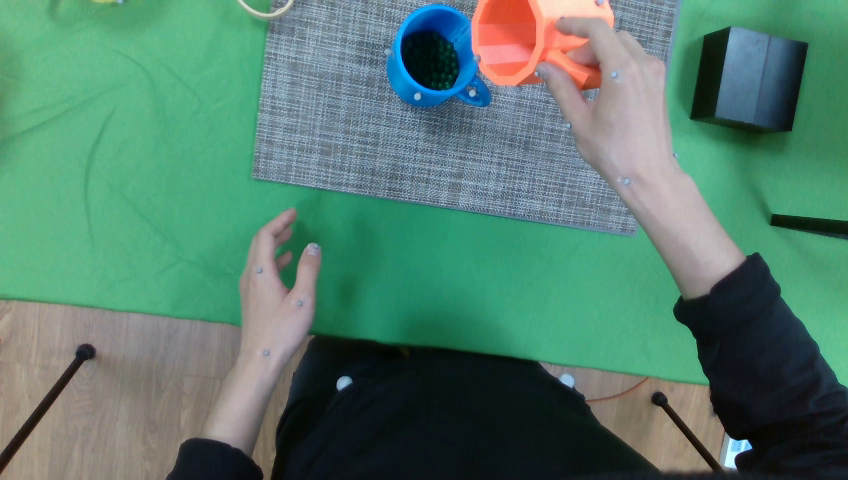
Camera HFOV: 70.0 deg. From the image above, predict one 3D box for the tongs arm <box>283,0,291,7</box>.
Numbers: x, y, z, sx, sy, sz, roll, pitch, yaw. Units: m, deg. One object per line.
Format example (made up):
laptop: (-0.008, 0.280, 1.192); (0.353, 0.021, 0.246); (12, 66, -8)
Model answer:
tongs arm: (-0.179, -0.425, 0.571); (0.028, 0.027, 0.389); (-19, 107, -14)

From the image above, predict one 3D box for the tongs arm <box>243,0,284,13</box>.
tongs arm: (-0.254, -0.389, 0.561); (0.051, 0.026, 0.387); (-31, 109, -7)

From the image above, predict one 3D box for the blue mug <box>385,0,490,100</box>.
blue mug: (0.018, -0.180, 0.617); (0.117, 0.105, 0.082); (34, 91, -12)

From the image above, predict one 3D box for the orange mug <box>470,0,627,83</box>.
orange mug: (0.113, -0.178, 0.530); (0.101, 0.125, 0.084); (-12, 141, -34)
